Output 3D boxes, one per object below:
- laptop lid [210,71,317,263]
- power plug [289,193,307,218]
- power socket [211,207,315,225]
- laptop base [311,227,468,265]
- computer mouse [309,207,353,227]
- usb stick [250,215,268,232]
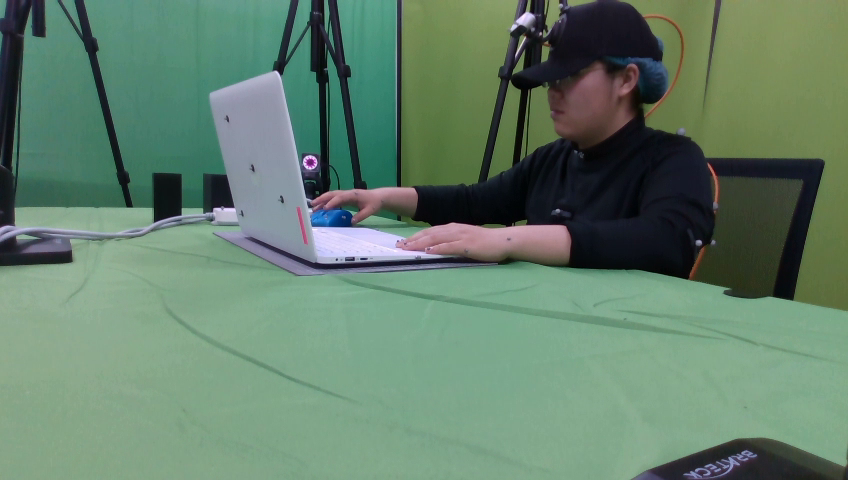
[{"bbox_3d":[-0.240,-0.104,0.861,0.013,0.241,0.355,-16,17,-29],"label":"laptop lid"},{"bbox_3d":[-0.281,-0.076,1.340,0.035,0.052,0.072,3,7,-17],"label":"power plug"},{"bbox_3d":[-0.334,-0.052,1.281,0.228,0.032,0.072,-2,9,-28],"label":"power socket"},{"bbox_3d":[-0.123,0.007,0.951,0.237,0.023,0.352,2,6,-32],"label":"laptop base"},{"bbox_3d":[-0.202,-0.046,1.275,0.062,0.041,0.117,8,13,23],"label":"computer mouse"},{"bbox_3d":[-0.290,-0.028,1.069,0.021,0.027,0.059,0,11,-30],"label":"usb stick"}]
